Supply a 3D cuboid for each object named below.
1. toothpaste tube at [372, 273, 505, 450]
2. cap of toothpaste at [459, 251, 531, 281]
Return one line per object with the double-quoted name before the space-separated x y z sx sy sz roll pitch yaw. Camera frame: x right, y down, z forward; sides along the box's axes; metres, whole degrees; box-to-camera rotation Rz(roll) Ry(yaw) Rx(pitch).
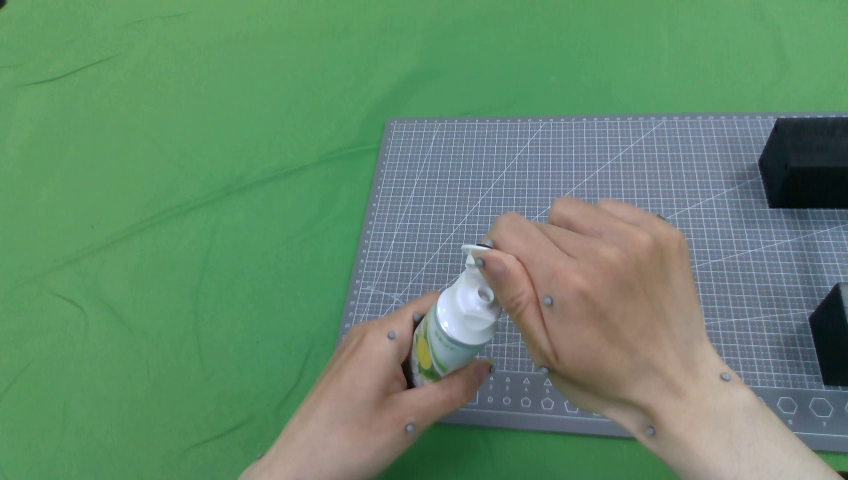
"toothpaste tube" 0.003 0.072 0.361 0.035 0.166 0.054 -8 57 -31
"cap of toothpaste" 0.034 0.013 0.300 0.037 0.037 0.011 7 82 15
